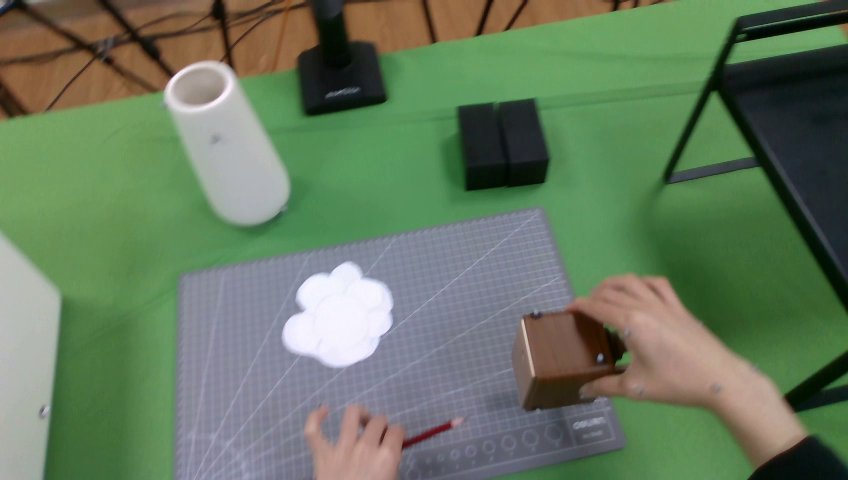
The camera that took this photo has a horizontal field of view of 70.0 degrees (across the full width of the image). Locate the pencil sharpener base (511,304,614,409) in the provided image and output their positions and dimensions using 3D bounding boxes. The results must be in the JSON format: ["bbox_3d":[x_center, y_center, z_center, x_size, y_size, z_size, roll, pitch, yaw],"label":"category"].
[{"bbox_3d":[0.125,0.109,0.555,0.077,0.108,0.061,-6,60,-1],"label":"pencil sharpener base"}]

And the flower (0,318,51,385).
[{"bbox_3d":[-0.506,0.219,0.638,0.038,0.044,0.358,-22,33,28],"label":"flower"}]

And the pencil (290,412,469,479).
[{"bbox_3d":[-0.047,0.198,0.567,0.194,0.012,0.012,-20,60,-9],"label":"pencil"}]

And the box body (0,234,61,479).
[{"bbox_3d":[-0.510,0.180,0.563,0.254,0.162,0.360,-12,59,-4],"label":"box body"}]

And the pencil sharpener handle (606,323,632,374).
[{"bbox_3d":[0.176,0.100,0.544,0.030,0.068,0.035,-6,48,-1],"label":"pencil sharpener handle"}]

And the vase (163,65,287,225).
[{"bbox_3d":[-0.226,-0.103,0.697,0.098,0.202,0.097,-2,58,4],"label":"vase"}]
